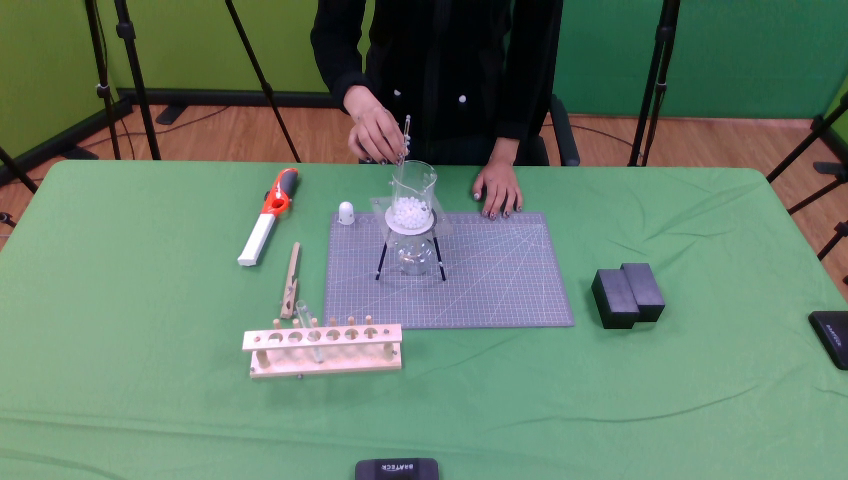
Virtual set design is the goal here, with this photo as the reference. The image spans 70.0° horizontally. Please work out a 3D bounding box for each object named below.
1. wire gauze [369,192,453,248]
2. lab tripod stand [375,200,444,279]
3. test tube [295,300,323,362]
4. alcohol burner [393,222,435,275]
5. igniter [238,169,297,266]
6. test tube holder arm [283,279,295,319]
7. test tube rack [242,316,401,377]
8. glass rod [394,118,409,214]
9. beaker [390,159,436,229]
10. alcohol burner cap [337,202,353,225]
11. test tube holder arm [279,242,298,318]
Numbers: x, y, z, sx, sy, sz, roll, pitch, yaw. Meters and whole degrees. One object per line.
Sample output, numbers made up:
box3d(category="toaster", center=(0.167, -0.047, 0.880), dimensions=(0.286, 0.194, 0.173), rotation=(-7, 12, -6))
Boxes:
box3d(category="wire gauze", center=(-0.025, -0.041, 1.065), dimensions=(0.122, 0.011, 0.124), rotation=(-10, 46, -18))
box3d(category="lab tripod stand", center=(-0.023, 0.004, 1.114), dimensions=(0.148, 0.132, 0.147), rotation=(4, 45, -3))
box3d(category="test tube", center=(-0.176, 0.143, 0.935), dimensions=(0.017, 0.151, 0.017), rotation=(-2, 46, 2))
box3d(category="alcohol burner", center=(-0.018, 0.009, 1.123), dimensions=(0.078, 0.119, 0.077), rotation=(3, 47, -3))
box3d(category="igniter", center=(-0.313, -0.055, 1.224), dimensions=(0.057, 0.025, 0.275), rotation=(1, 45, 10))
box3d(category="test tube holder arm", center=(-0.241, 0.103, 1.085), dimensions=(0.010, 0.015, 0.087), rotation=(26, 38, -26))
box3d(category="test tube rack", center=(-0.160, 0.166, 0.983), dimensions=(0.242, 0.085, 0.066), rotation=(-2, 46, -6))
box3d(category="glass rod", center=(-0.037, -0.116, 0.994), dimensions=(0.008, 0.200, 0.008), rotation=(5, 45, -5))
box3d(category="beaker", center=(-0.020, -0.073, 1.029), dimensions=(0.074, 0.101, 0.083), rotation=(-10, 48, -16))
box3d(category="alcohol burner cap", center=(-0.161, -0.056, 1.223), dimensions=(0.034, 0.048, 0.033), rotation=(2, 46, -2))
box3d(category="test tube holder arm", center=(-0.248, 0.069, 1.114), dimensions=(0.013, 0.015, 0.177), rotation=(26, 38, -26))
